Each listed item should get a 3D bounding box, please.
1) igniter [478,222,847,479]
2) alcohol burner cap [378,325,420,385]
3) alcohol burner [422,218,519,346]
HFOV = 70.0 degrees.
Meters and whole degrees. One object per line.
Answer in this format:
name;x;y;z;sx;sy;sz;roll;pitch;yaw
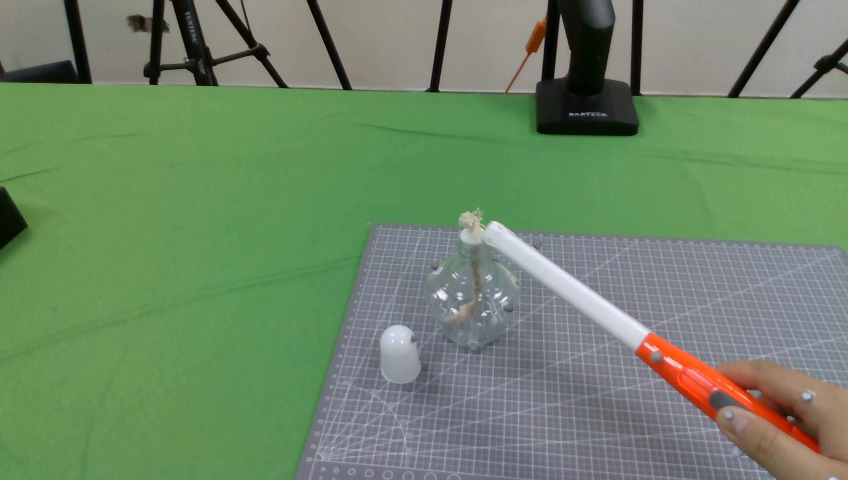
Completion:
igniter;0.141;0.070;0.361;0.274;0.058;0.025;38;98;30
alcohol burner cap;-0.021;0.086;0.467;0.034;0.048;0.033;-1;43;1
alcohol burner;0.037;0.028;0.475;0.078;0.120;0.077;0;43;0
